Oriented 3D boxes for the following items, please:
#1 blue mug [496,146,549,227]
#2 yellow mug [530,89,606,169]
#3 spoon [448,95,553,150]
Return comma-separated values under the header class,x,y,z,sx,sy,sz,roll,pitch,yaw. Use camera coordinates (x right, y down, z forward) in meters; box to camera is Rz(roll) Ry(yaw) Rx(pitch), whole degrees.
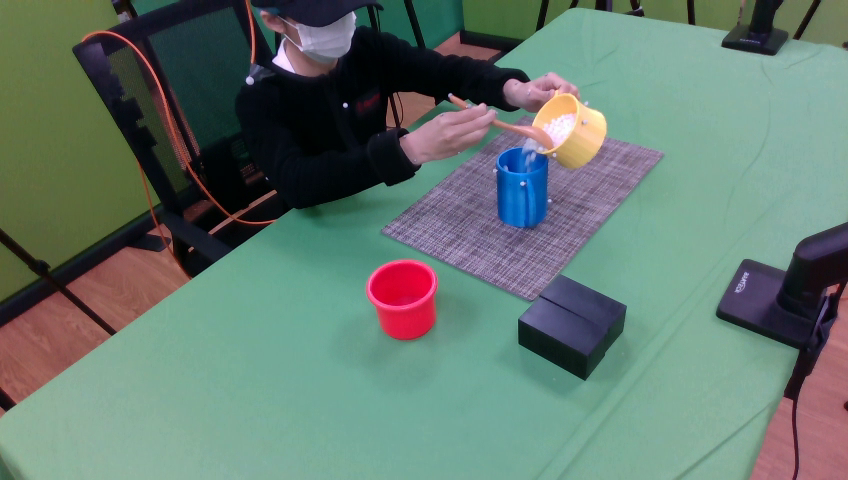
class,x,y,z,sx,sy,sz,roll,pitch,yaw
blue mug,0.162,-0.076,0.969,0.082,0.106,0.116,-9,40,-1
yellow mug,0.224,-0.183,0.951,0.064,0.099,0.130,23,56,-31
spoon,0.118,-0.172,0.901,0.195,0.021,0.041,16,43,-23
